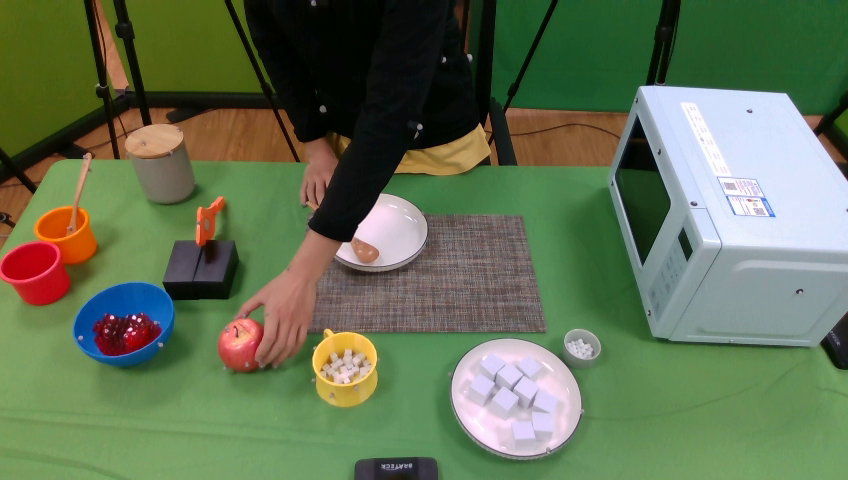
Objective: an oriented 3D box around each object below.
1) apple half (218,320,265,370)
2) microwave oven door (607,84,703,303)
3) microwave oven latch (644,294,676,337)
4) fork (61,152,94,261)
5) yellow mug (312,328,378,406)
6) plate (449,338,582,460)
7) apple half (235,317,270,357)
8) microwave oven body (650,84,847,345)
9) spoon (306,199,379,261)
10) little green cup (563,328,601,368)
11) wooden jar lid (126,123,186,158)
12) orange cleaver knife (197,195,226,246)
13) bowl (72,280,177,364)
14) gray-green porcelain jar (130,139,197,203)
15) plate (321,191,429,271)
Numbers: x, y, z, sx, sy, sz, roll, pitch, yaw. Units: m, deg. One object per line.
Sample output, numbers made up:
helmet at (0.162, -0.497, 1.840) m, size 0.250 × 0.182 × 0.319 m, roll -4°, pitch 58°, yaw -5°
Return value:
apple half at (-0.299, 0.176, 0.971) m, size 0.080 × 0.075 × 0.053 m, roll 36°, pitch 57°, yaw 22°
microwave oven door at (0.424, -0.096, 1.137) m, size 0.039 × 0.245 × 0.353 m, roll 2°, pitch 46°, yaw -1°
microwave oven latch at (0.411, 0.132, 1.061) m, size 0.030 × 0.029 × 0.078 m, roll 1°, pitch 46°, yaw -2°
fork at (-0.637, -0.062, 1.119) m, size 0.028 × 0.019 × 0.207 m, roll 11°, pitch 90°, yaw 16°
yellow mug at (-0.132, 0.193, 0.971) m, size 0.100 × 0.064 × 0.130 m, roll -22°, pitch 51°, yaw -22°
plate at (0.141, 0.251, 0.956) m, size 0.208 × 0.039 × 0.206 m, roll 2°, pitch 46°, yaw -2°
apple half at (-0.273, 0.154, 0.992) m, size 0.081 × 0.082 × 0.033 m, roll 35°, pitch 58°, yaw 26°
microwave oven body at (0.569, -0.054, 1.116) m, size 0.326 × 0.261 × 0.439 m, roll 2°, pitch 46°, yaw -1°
spoon at (-0.160, -0.023, 1.171) m, size 0.193 × 0.022 × 0.041 m, roll 42°, pitch 62°, yaw 16°
little green cup at (0.265, 0.185, 1.025) m, size 0.061 × 0.039 × 0.061 m, roll 1°, pitch 45°, yaw -1°
wooden jar lid at (-0.519, -0.190, 1.179) m, size 0.108 × 0.021 × 0.107 m, roll 2°, pitch 44°, yaw -2°
orange cleaver knife at (-0.404, -0.041, 1.157) m, size 0.012 × 0.077 × 0.210 m, roll 2°, pitch 14°, yaw -7°
bowl at (-0.473, 0.147, 0.982) m, size 0.151 × 0.077 × 0.150 m, roll 2°, pitch 46°, yaw -2°
gray-green porcelain jar at (-0.522, -0.148, 1.224) m, size 0.106 × 0.127 × 0.105 m, roll 2°, pitch 47°, yaw -2°
plate at (-0.094, -0.015, 1.185) m, size 0.209 × 0.038 × 0.208 m, roll 2°, pitch 46°, yaw -2°
